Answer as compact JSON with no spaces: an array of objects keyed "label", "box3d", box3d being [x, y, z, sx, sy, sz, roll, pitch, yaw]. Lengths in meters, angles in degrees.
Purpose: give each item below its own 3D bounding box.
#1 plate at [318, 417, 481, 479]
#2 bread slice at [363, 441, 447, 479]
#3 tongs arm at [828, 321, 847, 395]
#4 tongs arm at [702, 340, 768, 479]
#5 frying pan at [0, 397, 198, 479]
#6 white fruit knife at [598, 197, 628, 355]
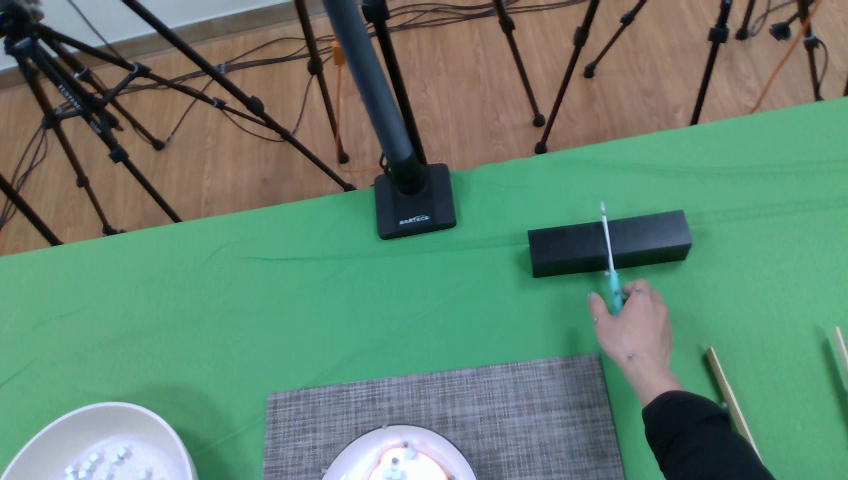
[{"label":"plate","box3d":[-0.029,0.319,0.721,0.207,0.039,0.206,-5,63,10]},{"label":"bread slice","box3d":[-0.032,0.313,0.726,0.106,0.018,0.133,14,69,17]},{"label":"tongs arm","box3d":[0.468,0.275,0.646,0.050,0.027,0.381,-6,64,10]},{"label":"tongs arm","box3d":[0.392,0.289,0.658,0.028,0.028,0.384,-15,62,1]},{"label":"frying pan","box3d":[-0.404,0.434,0.707,0.306,0.104,0.482,-12,54,6]},{"label":"white fruit knife","box3d":[0.241,0.043,0.784,0.016,0.027,0.206,-7,77,7]}]
